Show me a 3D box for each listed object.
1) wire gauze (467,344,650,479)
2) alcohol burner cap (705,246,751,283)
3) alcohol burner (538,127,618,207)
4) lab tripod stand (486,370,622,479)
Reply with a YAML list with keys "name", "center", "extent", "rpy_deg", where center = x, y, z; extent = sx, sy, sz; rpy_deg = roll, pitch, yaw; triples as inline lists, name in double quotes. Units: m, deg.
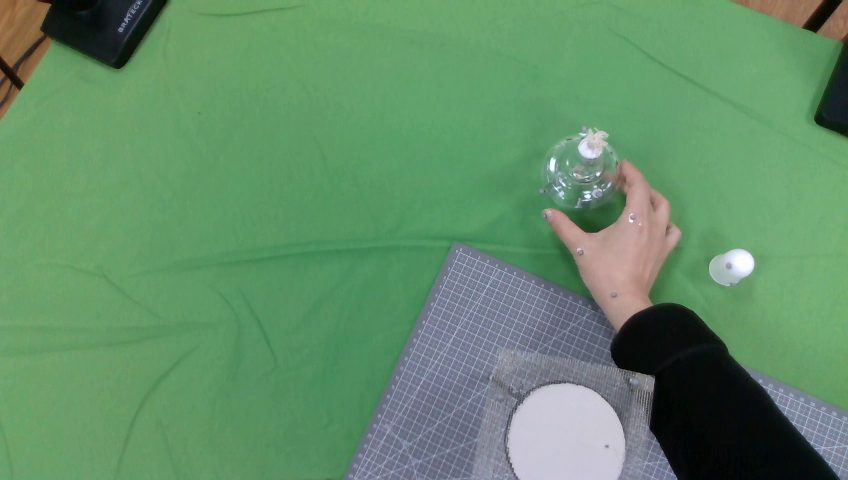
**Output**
- name: "wire gauze"
  center: [0.099, 0.147, 0.447]
  extent: [0.121, 0.011, 0.124]
  rpy_deg: [11, 80, 5]
- name: "alcohol burner cap"
  center: [0.294, 0.022, 0.581]
  extent: [0.034, 0.048, 0.033]
  rpy_deg: [-2, 76, 7]
- name: "alcohol burner"
  center: [0.148, -0.074, 0.575]
  extent: [0.078, 0.120, 0.077]
  rpy_deg: [-1, 74, 5]
- name: "lab tripod stand"
  center: [0.107, 0.166, 0.511]
  extent: [0.148, 0.132, 0.147]
  rpy_deg: [-1, 79, 3]
